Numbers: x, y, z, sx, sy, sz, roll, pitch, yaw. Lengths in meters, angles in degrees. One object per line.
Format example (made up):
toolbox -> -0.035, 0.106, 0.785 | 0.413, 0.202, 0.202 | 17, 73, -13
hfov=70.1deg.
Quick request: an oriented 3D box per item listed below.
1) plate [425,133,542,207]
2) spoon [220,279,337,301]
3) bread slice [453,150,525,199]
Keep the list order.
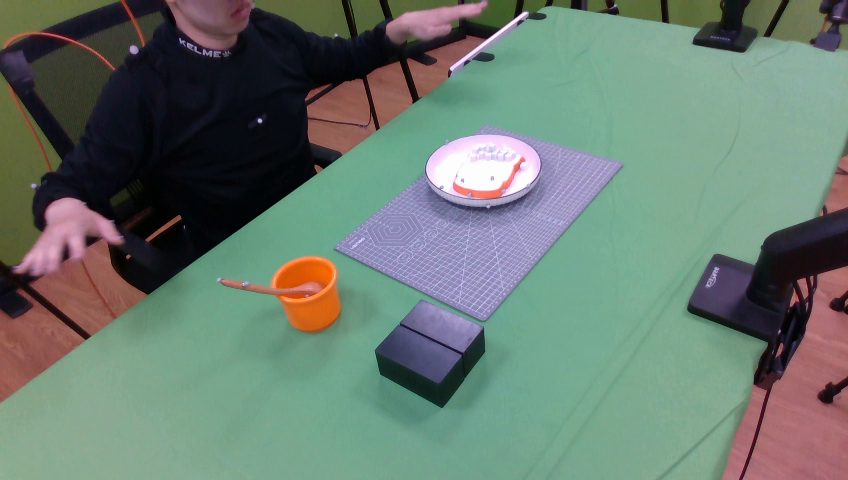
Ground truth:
plate -> 0.106, -0.121, 1.079 | 0.209, 0.038, 0.208 | -4, 41, 4
spoon -> -0.189, 0.068, 0.813 | 0.041, 0.021, 0.195 | 33, 15, 35
bread slice -> 0.112, -0.118, 1.079 | 0.104, 0.019, 0.131 | 11, 42, 21
